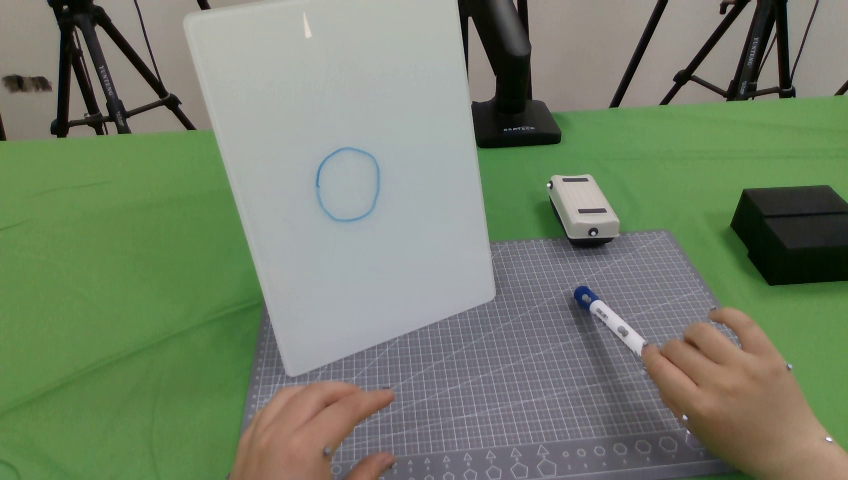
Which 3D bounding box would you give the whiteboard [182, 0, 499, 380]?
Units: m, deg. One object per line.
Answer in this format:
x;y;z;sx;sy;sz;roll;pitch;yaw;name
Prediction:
-0.074;-0.068;0.567;0.218;0.307;0.142;-18;23;-20;whiteboard

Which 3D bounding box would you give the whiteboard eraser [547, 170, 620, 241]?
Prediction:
0.180;-0.040;0.695;0.055;0.042;0.111;-4;35;-2;whiteboard eraser

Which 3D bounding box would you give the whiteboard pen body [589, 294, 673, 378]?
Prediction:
0.174;0.076;0.534;0.017;0.017;0.139;-9;25;-10;whiteboard pen body

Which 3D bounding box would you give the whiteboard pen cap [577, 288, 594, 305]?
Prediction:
0.158;0.055;0.591;0.018;0.018;0.033;15;-1;19;whiteboard pen cap
